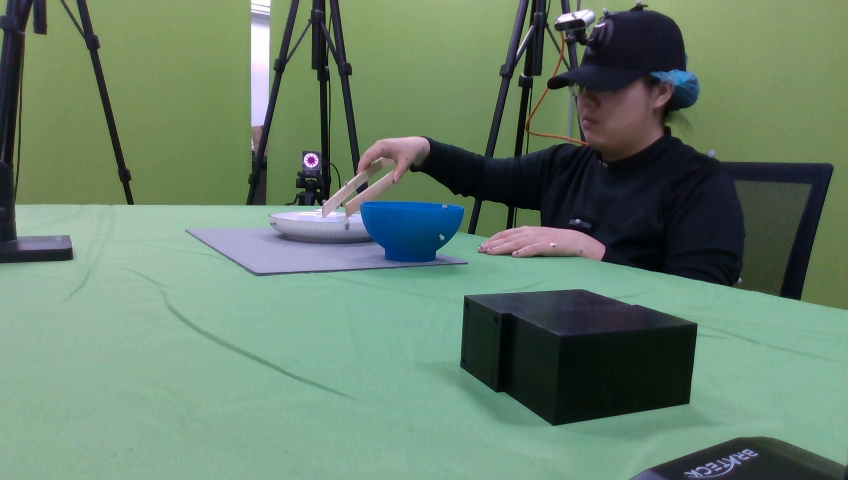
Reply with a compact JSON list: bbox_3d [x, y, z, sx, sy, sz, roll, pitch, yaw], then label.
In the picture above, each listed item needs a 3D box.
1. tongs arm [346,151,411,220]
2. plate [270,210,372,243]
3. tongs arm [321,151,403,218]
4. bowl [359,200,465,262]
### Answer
[{"bbox_3d":[-0.079,-0.113,1.148,0.028,0.028,0.388,0,21,15],"label":"tongs arm"},{"bbox_3d":[-0.161,-0.023,1.054,0.208,0.039,0.207,2,7,0],"label":"plate"},{"bbox_3d":[-0.106,-0.115,1.154,0.050,0.026,0.385,3,22,11],"label":"tongs arm"},{"bbox_3d":[-0.018,-0.013,0.859,0.151,0.077,0.151,2,7,0],"label":"bowl"}]
